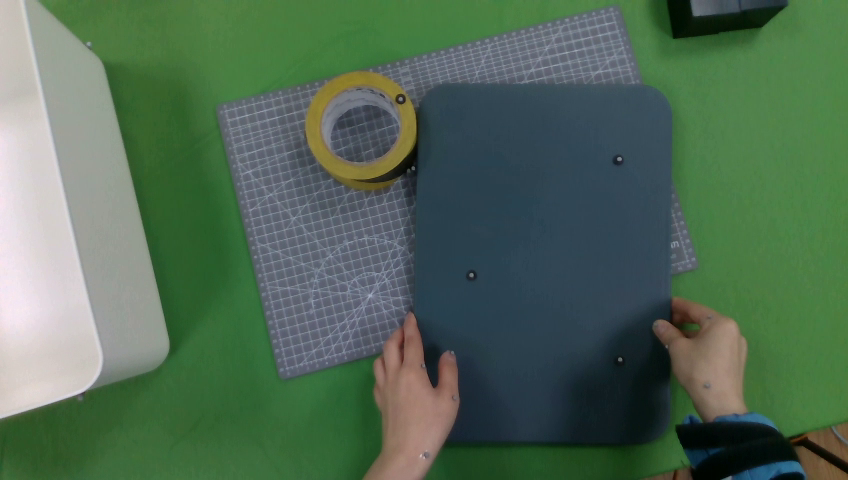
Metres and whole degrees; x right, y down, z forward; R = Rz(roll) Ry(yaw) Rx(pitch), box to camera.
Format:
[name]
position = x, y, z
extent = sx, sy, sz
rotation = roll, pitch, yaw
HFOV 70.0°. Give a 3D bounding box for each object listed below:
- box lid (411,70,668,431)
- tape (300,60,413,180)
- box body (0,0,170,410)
[box lid]
position = 0.118, 0.009, 0.622
extent = 0.263, 0.015, 0.371
rotation = 0, 89, -1
[tape]
position = -0.065, -0.120, 0.620
extent = 0.117, 0.053, 0.116
rotation = 0, 86, 0
[box body]
position = -0.416, -0.023, 0.557
extent = 0.254, 0.160, 0.363
rotation = -17, 85, -2
